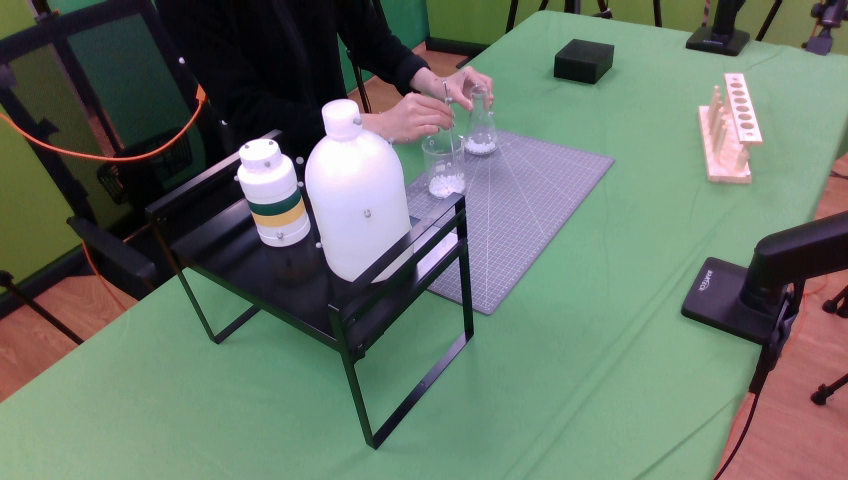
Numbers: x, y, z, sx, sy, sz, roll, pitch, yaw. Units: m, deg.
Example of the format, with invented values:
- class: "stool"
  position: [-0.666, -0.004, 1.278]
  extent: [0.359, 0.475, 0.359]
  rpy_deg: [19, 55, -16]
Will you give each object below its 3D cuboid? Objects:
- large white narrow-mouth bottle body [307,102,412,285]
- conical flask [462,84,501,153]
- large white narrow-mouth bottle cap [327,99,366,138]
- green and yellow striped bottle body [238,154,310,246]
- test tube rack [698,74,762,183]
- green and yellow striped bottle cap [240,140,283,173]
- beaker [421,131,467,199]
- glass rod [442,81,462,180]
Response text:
- class: "large white narrow-mouth bottle body"
  position: [-0.070, -0.051, 0.638]
  extent: [0.102, 0.195, 0.101]
  rpy_deg: [-3, 40, 3]
- class: "conical flask"
  position: [0.107, -0.230, 1.136]
  extent: [0.075, 0.122, 0.075]
  rpy_deg: [-3, 44, 3]
- class: "large white narrow-mouth bottle cap"
  position: [-0.075, -0.117, 0.582]
  extent: [0.038, 0.024, 0.037]
  rpy_deg: [-3, 40, 3]
- class: "green and yellow striped bottle body"
  position: [-0.178, -0.056, 0.714]
  extent: [0.063, 0.120, 0.063]
  rpy_deg: [-4, 40, 4]
- class: "test tube rack"
  position: [0.547, -0.208, 1.094]
  extent: [0.066, 0.085, 0.242]
  rpy_deg: [5, 42, 15]
- class: "green and yellow striped bottle cap"
  position: [-0.183, -0.094, 0.679]
  extent: [0.045, 0.020, 0.045]
  rpy_deg: [-5, 38, 4]
- class: "beaker"
  position: [0.040, -0.130, 1.060]
  extent: [0.084, 0.100, 0.073]
  rpy_deg: [-24, 44, -20]
- class: "glass rod"
  position: [0.049, -0.179, 1.021]
  extent: [0.008, 0.201, 0.008]
  rpy_deg: [-7, 44, 7]
